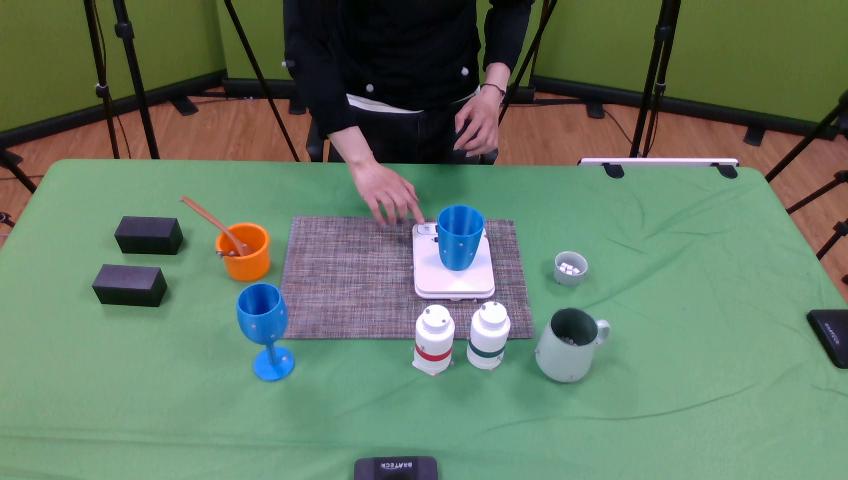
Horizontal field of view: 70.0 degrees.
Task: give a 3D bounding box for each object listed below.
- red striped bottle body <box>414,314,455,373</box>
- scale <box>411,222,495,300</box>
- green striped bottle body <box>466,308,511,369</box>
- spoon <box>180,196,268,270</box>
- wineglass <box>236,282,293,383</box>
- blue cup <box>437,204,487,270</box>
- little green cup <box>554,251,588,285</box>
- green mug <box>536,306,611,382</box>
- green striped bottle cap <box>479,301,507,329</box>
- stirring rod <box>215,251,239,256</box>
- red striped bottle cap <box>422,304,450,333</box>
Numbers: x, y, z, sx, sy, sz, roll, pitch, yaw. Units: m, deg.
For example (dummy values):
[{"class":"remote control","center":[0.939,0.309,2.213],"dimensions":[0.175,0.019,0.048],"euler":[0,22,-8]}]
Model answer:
[{"class":"red striped bottle body","center":[0.016,0.158,0.977],"dimensions":[0.063,0.120,0.062],"euler":[2,46,-2]},{"class":"scale","center":[0.052,0.031,1.158],"dimensions":[0.149,0.032,0.199],"euler":[1,46,-4]},{"class":"green striped bottle body","center":[0.105,0.154,0.988],"dimensions":[0.063,0.120,0.063],"euler":[2,46,-2]},{"class":"spoon","center":[-0.360,-0.014,1.094],"dimensions":[0.021,0.194,0.041],"euler":[-27,26,31]},{"class":"wineglass","center":[-0.243,0.143,0.934],"dimensions":[0.074,0.173,0.073],"euler":[2,46,-2]},{"class":"blue cup","center":[0.062,0.000,1.098],"dimensions":[0.093,0.101,0.092],"euler":[2,44,-2]},{"class":"little green cup","center":[0.277,0.055,1.151],"dimensions":[0.061,0.039,0.061],"euler":[1,46,-1]},{"class":"green mug","center":[0.250,0.167,0.996],"dimensions":[0.125,0.105,0.092],"euler":[-15,48,-19]},{"class":"green striped bottle cap","center":[0.109,0.118,0.950],"dimensions":[0.044,0.020,0.044],"euler":[2,47,-2]},{"class":"stirring rod","center":[-0.339,0.024,1.059],"dimensions":[0.014,0.176,0.006],"euler":[16,86,-6]},{"class":"red striped bottle cap","center":[0.018,0.121,0.939],"dimensions":[0.044,0.018,0.044],"euler":[0,48,0]}]
